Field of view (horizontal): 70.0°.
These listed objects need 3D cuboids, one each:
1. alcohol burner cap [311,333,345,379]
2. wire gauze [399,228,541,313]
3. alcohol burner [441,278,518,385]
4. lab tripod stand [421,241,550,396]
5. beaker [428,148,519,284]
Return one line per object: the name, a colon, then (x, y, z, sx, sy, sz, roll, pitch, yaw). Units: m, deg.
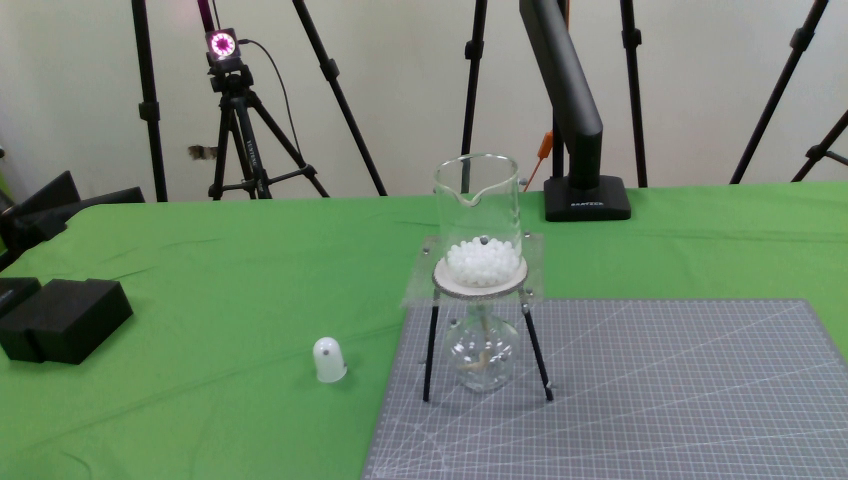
alcohol burner cap: (-0.103, 0.121, 0.644, 0.034, 0.048, 0.033, -4, 33, 3)
wire gauze: (0.046, 0.023, 0.554, 0.121, 0.011, 0.124, -3, 33, 12)
alcohol burner: (0.054, 0.085, 0.597, 0.078, 0.120, 0.077, -4, 33, 3)
lab tripod stand: (0.054, 0.076, 0.592, 0.148, 0.132, 0.147, -6, 30, 4)
beaker: (0.046, -0.018, 0.527, 0.074, 0.101, 0.083, -1, 32, 13)
